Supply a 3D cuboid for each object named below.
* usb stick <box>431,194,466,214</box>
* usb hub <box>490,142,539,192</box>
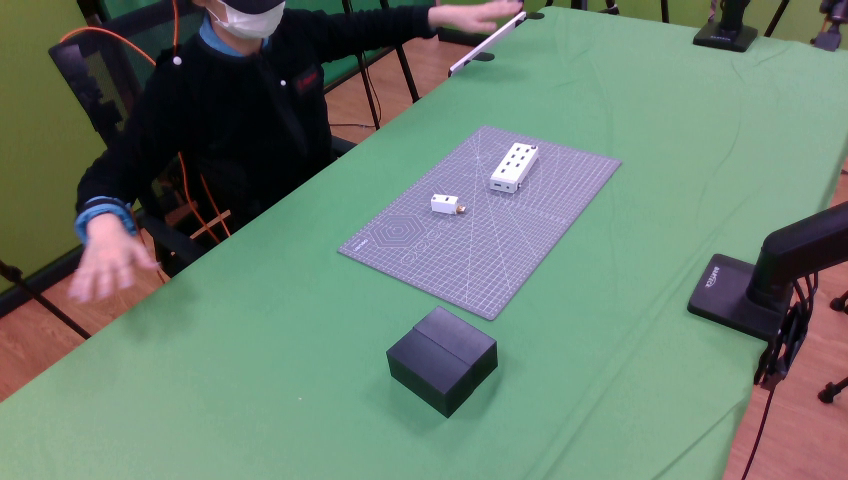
[{"bbox_3d":[0.043,-0.060,1.025,0.059,0.027,0.021,12,43,17],"label":"usb stick"},{"bbox_3d":[0.165,-0.132,1.092,0.049,0.025,0.125,15,46,24],"label":"usb hub"}]
